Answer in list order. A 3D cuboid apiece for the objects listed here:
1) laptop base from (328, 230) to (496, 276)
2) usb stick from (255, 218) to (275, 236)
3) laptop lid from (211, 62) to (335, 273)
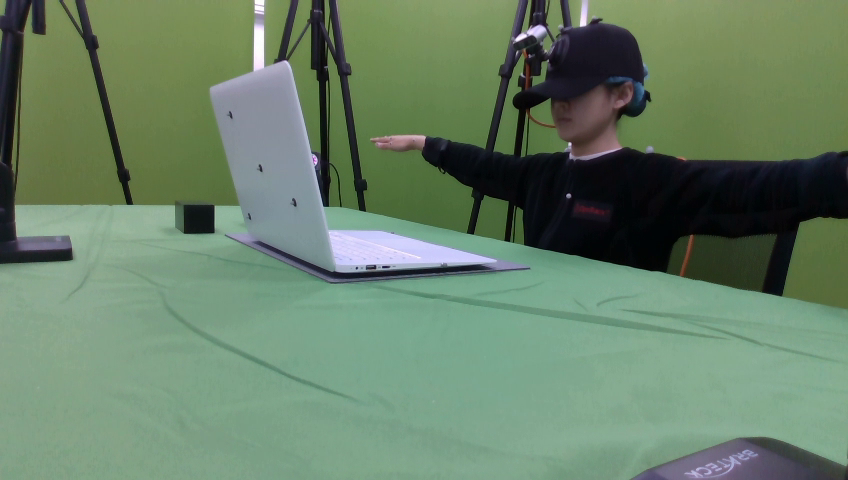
[{"bbox_3d":[-0.091,0.016,0.884,0.237,0.023,0.352,2,6,-32],"label":"laptop base"},{"bbox_3d":[-0.262,-0.021,1.003,0.021,0.027,0.059,0,10,-32],"label":"usb stick"},{"bbox_3d":[-0.211,-0.095,0.791,0.013,0.241,0.355,-18,18,-29],"label":"laptop lid"}]
